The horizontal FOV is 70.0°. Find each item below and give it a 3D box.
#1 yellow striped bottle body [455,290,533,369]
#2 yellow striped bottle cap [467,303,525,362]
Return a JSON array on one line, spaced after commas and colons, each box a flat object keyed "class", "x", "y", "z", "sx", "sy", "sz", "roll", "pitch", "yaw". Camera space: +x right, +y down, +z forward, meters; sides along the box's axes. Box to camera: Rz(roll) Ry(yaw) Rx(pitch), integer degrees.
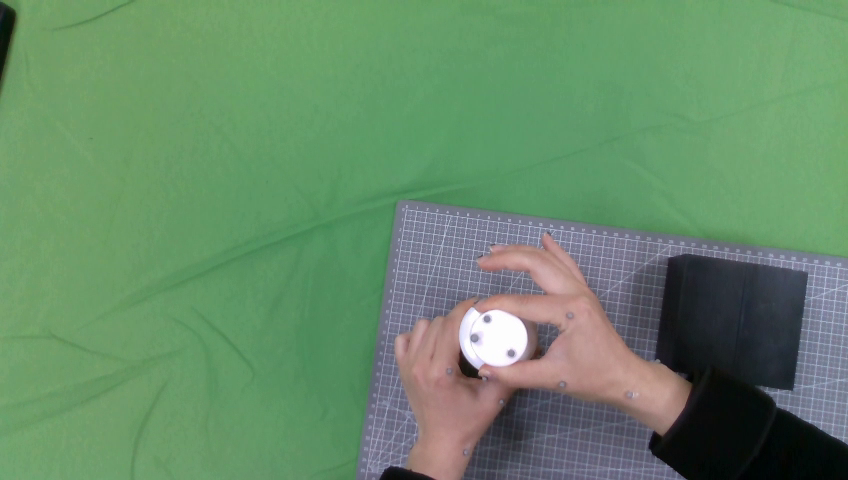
[{"class": "yellow striped bottle body", "x": 0.058, "y": 0.075, "z": 0.512, "sx": 0.063, "sy": 0.120, "sz": 0.062, "roll": -1, "pitch": 83, "yaw": 5}, {"class": "yellow striped bottle cap", "x": 0.054, "y": 0.071, "z": 0.462, "sx": 0.044, "sy": 0.019, "sz": 0.044, "roll": 0, "pitch": 87, "yaw": 6}]
